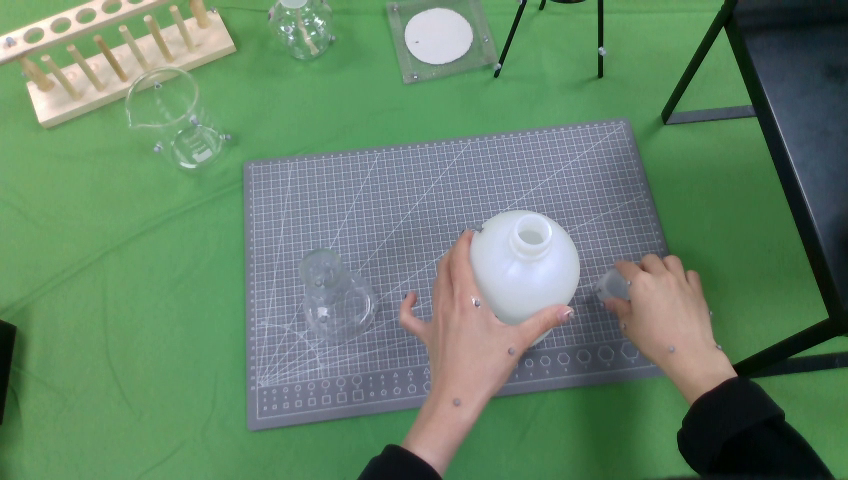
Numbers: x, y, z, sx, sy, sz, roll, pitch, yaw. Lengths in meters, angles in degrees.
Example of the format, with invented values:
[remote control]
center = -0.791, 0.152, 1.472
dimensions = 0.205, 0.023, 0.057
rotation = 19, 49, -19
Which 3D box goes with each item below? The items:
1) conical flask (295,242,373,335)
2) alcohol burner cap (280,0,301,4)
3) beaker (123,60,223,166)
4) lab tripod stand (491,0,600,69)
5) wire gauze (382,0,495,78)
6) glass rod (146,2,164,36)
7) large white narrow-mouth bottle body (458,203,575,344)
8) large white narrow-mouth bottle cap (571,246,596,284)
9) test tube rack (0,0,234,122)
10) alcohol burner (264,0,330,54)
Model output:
[conical flask]
center = -0.091, 0.041, 0.573
dimensions = 0.075, 0.122, 0.075
rotation = 0, 68, 1
[alcohol burner cap]
center = -0.152, -0.292, 0.676
dimensions = 0.034, 0.048, 0.033
rotation = 3, 66, -7
[beaker]
center = -0.269, -0.131, 0.658
dimensions = 0.073, 0.101, 0.084
rotation = 38, 73, 15
[lab tripod stand]
center = 0.149, -0.265, 0.692
dimensions = 0.148, 0.132, 0.147
rotation = 1, 67, -1
[wire gauze]
center = 0.018, -0.266, 0.759
dimensions = 0.121, 0.011, 0.124
rotation = -11, 68, -5
[glass rod]
center = -0.317, -0.295, 0.660
dimensions = 0.008, 0.201, 0.008
rotation = 2, 66, -3
[large white narrow-mouth bottle body]
center = 0.081, 0.025, 0.542
dimensions = 0.102, 0.196, 0.101
rotation = -1, 68, 3
[large white narrow-mouth bottle cap]
center = 0.160, 0.027, 0.630
dimensions = 0.038, 0.024, 0.037
rotation = -1, 68, 2
[test tube rack]
center = -0.359, -0.232, 0.707
dimensions = 0.242, 0.086, 0.066
rotation = -26, 70, -10
[alcohol burner]
center = -0.151, -0.277, 0.709
dimensions = 0.078, 0.120, 0.077
rotation = 0, 66, 0
